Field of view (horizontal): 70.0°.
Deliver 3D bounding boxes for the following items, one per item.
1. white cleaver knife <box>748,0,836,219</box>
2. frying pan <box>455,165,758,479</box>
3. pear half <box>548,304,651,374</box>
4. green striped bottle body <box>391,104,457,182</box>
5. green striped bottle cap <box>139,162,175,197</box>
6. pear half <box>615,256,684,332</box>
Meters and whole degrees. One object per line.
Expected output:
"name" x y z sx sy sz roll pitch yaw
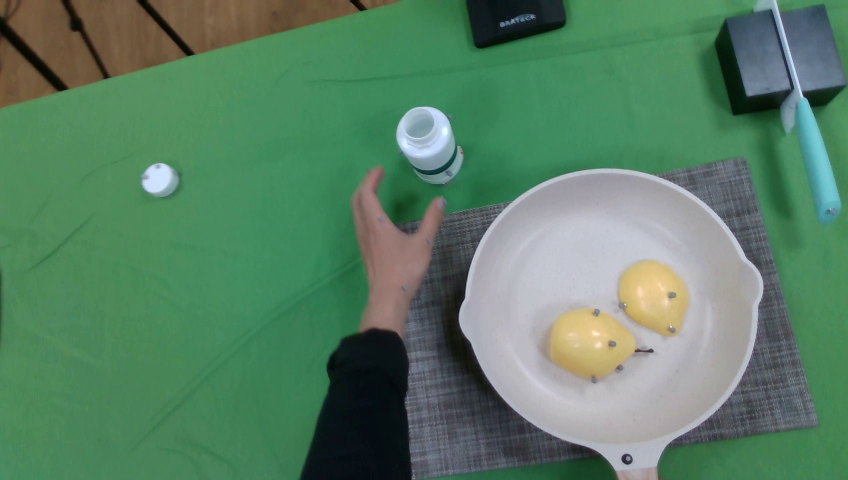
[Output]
"white cleaver knife" 0.404 -0.160 0.671 0.021 0.066 0.284 -9 74 14
"frying pan" 0.197 0.163 0.618 0.306 0.103 0.484 -9 68 10
"pear half" 0.191 0.108 0.655 0.109 0.056 0.076 3 84 9
"green striped bottle body" 0.000 -0.116 0.709 0.063 0.120 0.063 -2 77 10
"green striped bottle cap" -0.362 -0.082 0.821 0.044 0.020 0.044 -2 77 11
"pear half" 0.251 0.058 0.666 0.070 0.031 0.087 -26 71 9
